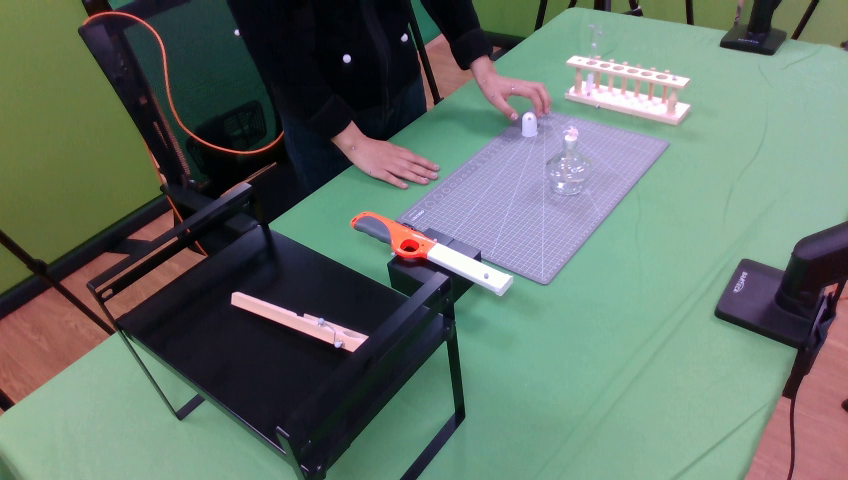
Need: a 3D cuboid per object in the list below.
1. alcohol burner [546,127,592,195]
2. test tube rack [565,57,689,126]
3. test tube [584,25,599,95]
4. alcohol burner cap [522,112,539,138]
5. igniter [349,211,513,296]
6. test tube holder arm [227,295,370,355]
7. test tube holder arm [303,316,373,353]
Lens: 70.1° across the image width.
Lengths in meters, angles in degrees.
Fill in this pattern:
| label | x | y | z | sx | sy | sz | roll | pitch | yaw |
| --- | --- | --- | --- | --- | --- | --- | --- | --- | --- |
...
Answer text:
| label | x | y | z | sx | sy | sz | roll | pitch | yaw |
| --- | --- | --- | --- | --- | --- | --- | --- | --- | --- |
| alcohol burner | 0.246 | -0.137 | 1.024 | 0.078 | 0.119 | 0.077 | -4 | 38 | 4 |
| test tube rack | 0.412 | -0.311 | 1.230 | 0.240 | 0.085 | 0.067 | 23 | 49 | 32 |
| test tube | 0.339 | -0.361 | 1.224 | 0.017 | 0.151 | 0.017 | -4 | 45 | 4 |
| alcohol burner cap | 0.210 | -0.230 | 1.195 | 0.034 | 0.048 | 0.033 | -5 | 43 | 5 |
| igniter | 0.003 | 0.013 | 0.881 | 0.274 | 0.025 | 0.057 | 24 | 52 | 28 |
| test tube holder arm | -0.132 | 0.084 | 0.617 | 0.177 | 0.015 | 0.013 | 14 | 6 | 24 |
| test tube holder arm | -0.090 | 0.094 | 0.604 | 0.087 | 0.015 | 0.010 | 14 | 6 | 25 |
